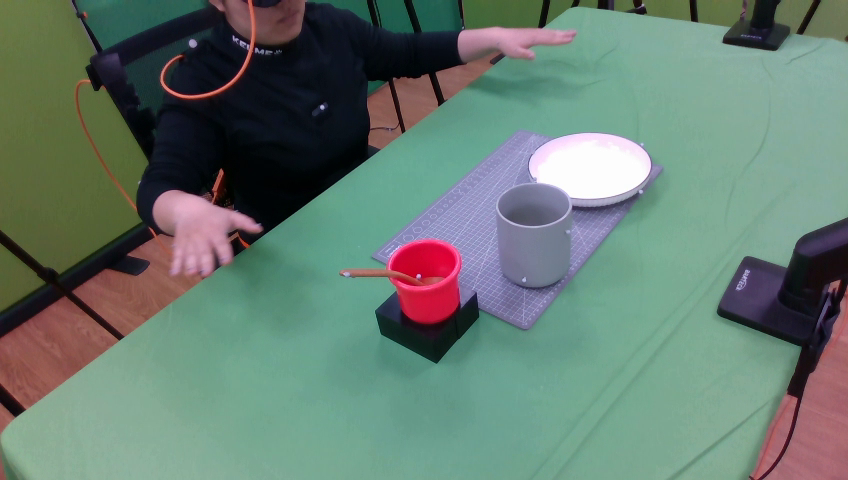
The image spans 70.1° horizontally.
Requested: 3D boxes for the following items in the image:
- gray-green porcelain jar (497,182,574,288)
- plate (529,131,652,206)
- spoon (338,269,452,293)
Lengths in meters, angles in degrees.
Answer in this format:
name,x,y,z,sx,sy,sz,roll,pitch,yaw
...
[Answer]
name,x,y,z,sx,sy,sz,roll,pitch,yaw
gray-green porcelain jar,0.160,-0.003,0.869,0.106,0.127,0.105,-5,40,5
plate,0.287,-0.122,1.055,0.207,0.039,0.206,-5,40,5
spoon,-0.033,0.047,0.758,0.041,0.021,0.195,30,10,41
